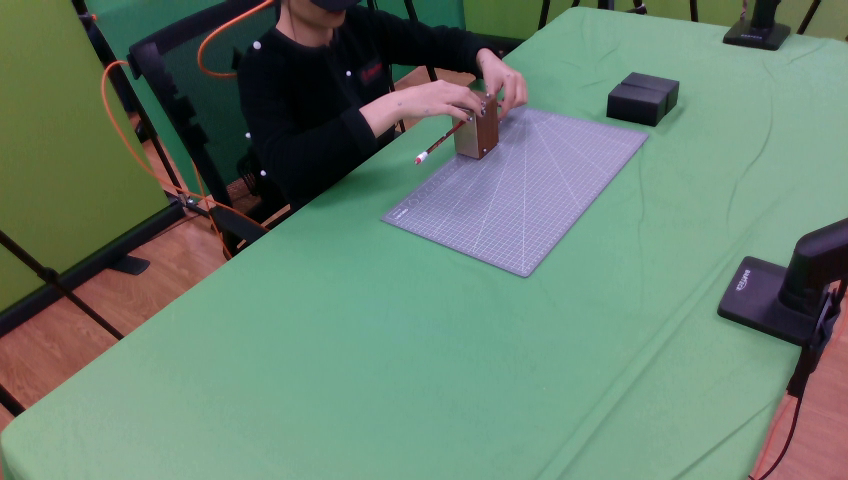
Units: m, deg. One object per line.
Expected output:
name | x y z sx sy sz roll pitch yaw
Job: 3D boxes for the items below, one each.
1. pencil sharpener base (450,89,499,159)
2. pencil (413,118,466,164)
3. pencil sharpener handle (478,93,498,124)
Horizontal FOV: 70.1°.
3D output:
pencil sharpener base | 0.100 -0.222 1.155 0.061 0.107 0.077 21 49 32
pencil | 0.043 -0.191 1.091 0.012 0.012 0.194 23 51 32
pencil sharpener handle | 0.129 -0.261 1.175 0.035 0.068 0.031 21 49 32
